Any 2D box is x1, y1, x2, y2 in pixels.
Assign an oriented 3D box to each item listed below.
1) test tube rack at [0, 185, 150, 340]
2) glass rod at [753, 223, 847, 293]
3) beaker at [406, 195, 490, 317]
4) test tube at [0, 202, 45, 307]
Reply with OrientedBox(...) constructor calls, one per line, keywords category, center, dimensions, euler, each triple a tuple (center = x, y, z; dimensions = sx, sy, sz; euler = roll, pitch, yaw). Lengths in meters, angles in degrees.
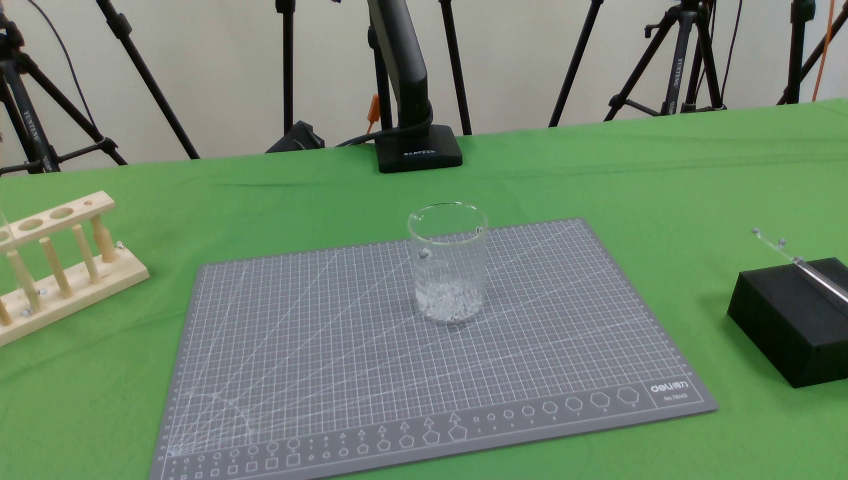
OrientedBox(category="test tube rack", center=(-0.410, 0.037, 0.592), dimensions=(0.242, 0.086, 0.066), euler=(-30, 44, -34))
OrientedBox(category="glass rod", center=(0.363, 0.036, 0.530), dimensions=(0.008, 0.008, 0.197), euler=(-13, 36, -14))
OrientedBox(category="beaker", center=(0.021, 0.017, 0.581), dimensions=(0.083, 0.101, 0.074), euler=(25, 44, 34))
OrientedBox(category="test tube", center=(-0.387, 0.001, 0.563), dimensions=(0.017, 0.151, 0.017), euler=(0, 34, 0))
